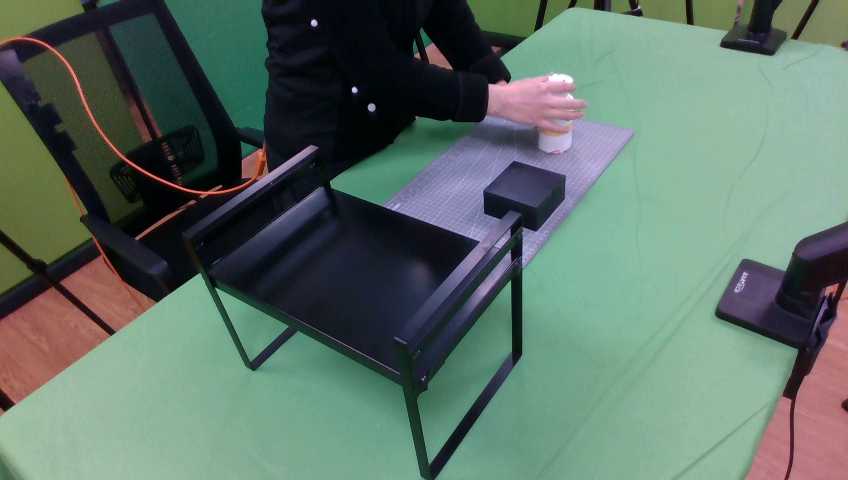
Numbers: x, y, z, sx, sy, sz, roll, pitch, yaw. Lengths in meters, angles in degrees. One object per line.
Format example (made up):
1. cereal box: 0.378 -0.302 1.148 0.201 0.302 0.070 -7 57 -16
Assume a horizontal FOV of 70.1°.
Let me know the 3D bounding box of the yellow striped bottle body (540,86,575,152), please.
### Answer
1. yellow striped bottle body: 0.248 -0.231 1.127 0.063 0.121 0.062 -4 41 4

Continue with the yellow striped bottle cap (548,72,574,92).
1. yellow striped bottle cap: 0.245 -0.282 1.078 0.044 0.019 0.044 3 38 -2
